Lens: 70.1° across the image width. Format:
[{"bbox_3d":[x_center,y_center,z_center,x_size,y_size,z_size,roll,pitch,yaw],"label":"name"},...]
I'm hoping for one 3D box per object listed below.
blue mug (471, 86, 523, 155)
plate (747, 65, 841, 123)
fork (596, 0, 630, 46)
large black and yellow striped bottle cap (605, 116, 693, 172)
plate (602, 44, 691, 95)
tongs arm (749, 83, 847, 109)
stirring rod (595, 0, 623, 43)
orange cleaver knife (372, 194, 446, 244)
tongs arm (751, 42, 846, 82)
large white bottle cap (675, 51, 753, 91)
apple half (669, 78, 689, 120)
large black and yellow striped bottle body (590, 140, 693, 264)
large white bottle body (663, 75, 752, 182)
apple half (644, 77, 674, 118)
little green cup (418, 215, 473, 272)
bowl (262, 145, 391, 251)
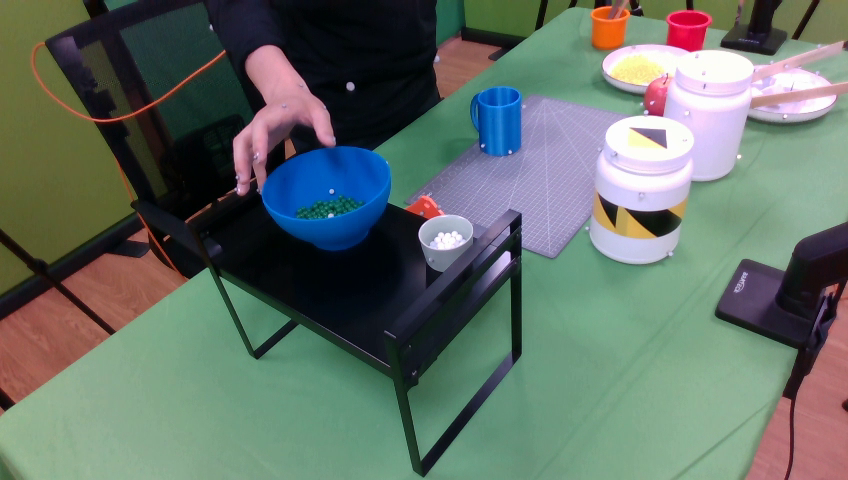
[{"bbox_3d":[0.135,-0.235,1.163,0.082,0.106,0.115,-36,48,-28],"label":"blue mug"},{"bbox_3d":[0.694,-0.282,1.189,0.207,0.039,0.206,-4,40,4],"label":"plate"},{"bbox_3d":[0.481,-0.556,1.452,0.028,0.019,0.207,40,103,40],"label":"fork"},{"bbox_3d":[0.309,-0.134,0.833,0.115,0.019,0.114,-5,40,5],"label":"large black and yellow striped bottle cap"},{"bbox_3d":[0.494,-0.366,1.317,0.209,0.038,0.208,-4,40,4],"label":"plate"},{"bbox_3d":[0.734,-0.280,1.133,0.388,0.028,0.028,-9,47,-5],"label":"tongs arm"},{"bbox_3d":[0.460,-0.556,1.460,0.014,0.006,0.176,30,93,23],"label":"stirring rod"},{"bbox_3d":[-0.032,-0.026,0.965,0.210,0.077,0.012,-9,29,51],"label":"orange cleaver knife"},{"bbox_3d":[0.708,-0.331,1.193,0.386,0.026,0.050,-18,45,-16],"label":"tongs arm"},{"bbox_3d":[0.463,-0.271,0.967,0.115,0.018,0.114,-4,40,3],"label":"large white bottle cap"},{"bbox_3d":[0.498,-0.273,1.180,0.032,0.082,0.081,7,42,25],"label":"apple half"},{"bbox_3d":[0.317,-0.071,0.889,0.131,0.185,0.130,-4,41,4],"label":"large black and yellow striped bottle body"},{"bbox_3d":[0.472,-0.207,1.022,0.130,0.185,0.130,-4,41,4],"label":"large white bottle body"},{"bbox_3d":[0.463,-0.279,1.194,0.053,0.075,0.081,8,46,24],"label":"apple half"},{"bbox_3d":[0.026,0.005,0.678,0.061,0.039,0.061,-4,40,4],"label":"little green cup"},{"bbox_3d":[-0.108,-0.040,0.723,0.151,0.077,0.150,-4,40,4],"label":"bowl"}]
